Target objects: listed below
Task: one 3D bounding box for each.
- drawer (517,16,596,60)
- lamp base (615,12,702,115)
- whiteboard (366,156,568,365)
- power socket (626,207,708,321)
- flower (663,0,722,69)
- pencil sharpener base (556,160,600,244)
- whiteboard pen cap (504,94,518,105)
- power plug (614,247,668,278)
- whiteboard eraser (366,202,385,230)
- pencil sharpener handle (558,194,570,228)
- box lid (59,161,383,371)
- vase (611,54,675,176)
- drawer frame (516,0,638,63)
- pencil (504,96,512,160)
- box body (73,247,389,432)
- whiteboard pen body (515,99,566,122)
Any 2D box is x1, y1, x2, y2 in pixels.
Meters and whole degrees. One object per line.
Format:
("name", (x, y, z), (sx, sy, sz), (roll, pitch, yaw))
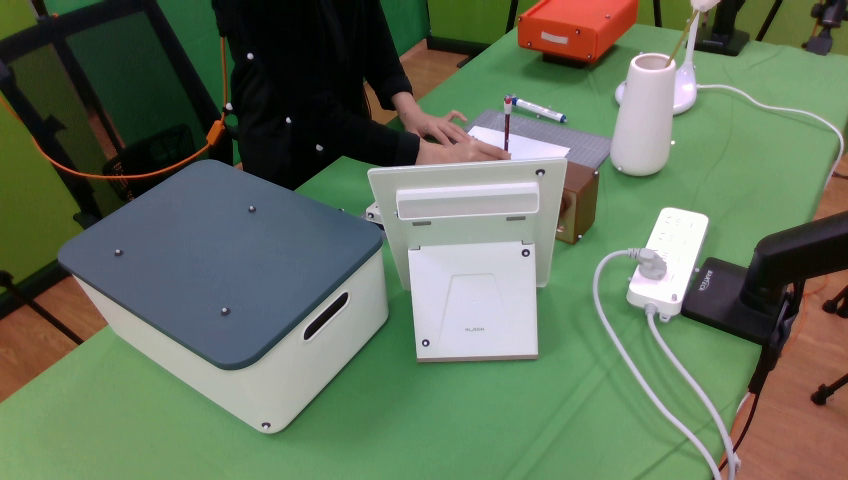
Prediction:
("drawer", (0.353, -0.506, 1.405), (0.193, 0.073, 0.212), (23, 49, 32))
("lamp base", (0.484, -0.363, 1.211), (0.180, 0.181, 0.159), (-15, 41, -14))
("whiteboard", (0.059, 0.050, 0.738), (0.217, 0.307, 0.143), (-2, 60, 6))
("power socket", (0.359, 0.025, 0.886), (0.072, 0.033, 0.227), (16, 46, 26))
("flower", (0.379, -0.261, 0.965), (0.044, 0.362, 0.038), (20, 53, 5))
("pencil sharpener base", (0.228, -0.057, 0.945), (0.061, 0.107, 0.077), (24, 50, 31))
("whiteboard pen cap", (0.190, -0.299, 1.292), (0.033, 0.018, 0.018), (30, 52, 28))
("power plug", (0.306, 0.031, 0.851), (0.072, 0.053, 0.035), (24, 49, 33))
("whiteboard eraser", (-0.037, -0.038, 1.006), (0.112, 0.042, 0.055), (16, 47, 25))
("pencil sharpener handle", (0.195, -0.038, 0.908), (0.035, 0.068, 0.031), (25, 50, 30))
("box lid", (-0.262, 0.009, 0.777), (0.369, 0.015, 0.264), (21, 48, 29))
("vase", (0.377, -0.209, 1.031), (0.098, 0.201, 0.097), (-3, 40, 3))
("drawer frame", (0.355, -0.508, 1.411), (0.200, 0.083, 0.214), (23, 51, 32))
("pencil", (0.137, -0.160, 1.006), (0.012, 0.195, 0.012), (-2, 52, 4))
("box body", (-0.255, 0.065, 0.827), (0.361, 0.161, 0.255), (21, 48, 29))
("whiteboard pen body", (0.234, -0.274, 1.262), (0.139, 0.017, 0.017), (28, 51, 29))
